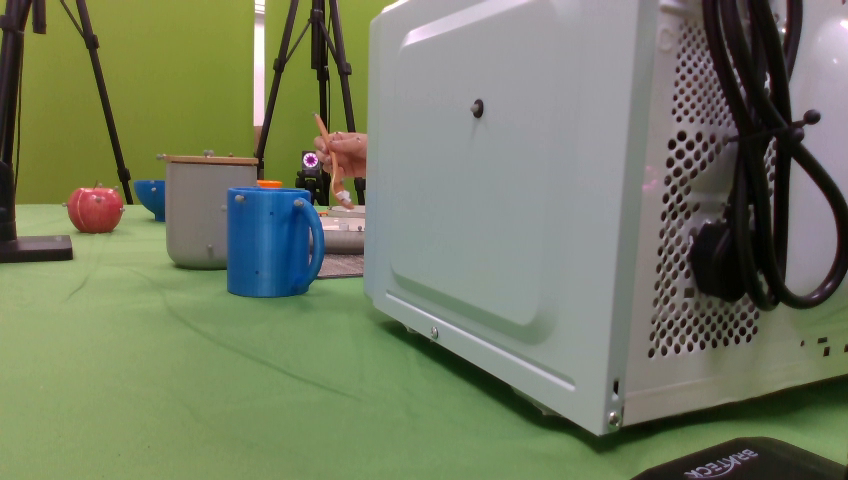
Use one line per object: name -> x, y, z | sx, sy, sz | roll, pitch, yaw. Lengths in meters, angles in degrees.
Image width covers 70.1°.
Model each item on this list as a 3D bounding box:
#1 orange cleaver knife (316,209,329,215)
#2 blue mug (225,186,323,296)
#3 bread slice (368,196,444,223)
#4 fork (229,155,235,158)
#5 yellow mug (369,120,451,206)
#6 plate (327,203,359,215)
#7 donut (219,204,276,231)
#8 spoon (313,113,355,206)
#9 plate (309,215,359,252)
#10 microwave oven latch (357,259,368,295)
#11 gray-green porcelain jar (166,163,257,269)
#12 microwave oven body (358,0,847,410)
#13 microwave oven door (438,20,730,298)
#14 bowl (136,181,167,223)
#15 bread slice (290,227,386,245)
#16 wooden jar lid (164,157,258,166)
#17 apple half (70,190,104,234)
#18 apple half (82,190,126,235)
orange cleaver knife -> -0.259, -0.064, 1.423 | 0.212, 0.012, 0.077 | -4, 3, -30
blue mug -> -0.148, 0.000, 0.618 | 0.116, 0.106, 0.083 | 7, 9, 33
bread slice -> -0.040, -0.057, 1.142 | 0.107, 0.018, 0.133 | -8, -8, -39
fork -> -0.459, -0.134, 1.415 | 0.028, 0.018, 0.207 | -1, -34, -25
yellow mug -> -0.010, -0.116, 0.865 | 0.100, 0.130, 0.064 | 3, 45, -56
plate -> -0.102, -0.053, 1.299 | 0.209, 0.038, 0.209 | 2, 8, 0
donut -> -0.316, -0.039, 1.083 | 0.099, 0.048, 0.099 | 3, 7, 0
spoon -> -0.145, -0.130, 0.957 | 0.021, 0.193, 0.042 | -31, -29, 23
plate -> -0.130, -0.011, 0.945 | 0.208, 0.039, 0.207 | 2, 8, 0
microwave oven latch -> -0.019, 0.031, 0.529 | 0.079, 0.029, 0.030 | -1, 7, -26
gray-green porcelain jar -> -0.263, -0.031, 0.754 | 0.106, 0.126, 0.106 | 2, 7, 0
microwave oven body -> 0.210, -0.051, 0.471 | 0.444, 0.260, 0.324 | -1, 7, -28
microwave oven door -> 0.181, -0.076, 0.618 | 0.358, 0.243, 0.039 | -2, 8, -28
bowl -> -0.497, -0.076, 1.221 | 0.151, 0.077, 0.151 | 2, 8, 0
bread slice -> -0.124, -0.007, 0.938 | 0.131, 0.019, 0.105 | 3, 8, 33
wooden jar lid -> -0.261, -0.093, 0.746 | 0.108, 0.020, 0.108 | 1, 9, 0
apple half -> -0.552, -0.047, 1.010 | 0.053, 0.074, 0.081 | 0, 10, 26
apple half -> -0.516, -0.046, 0.994 | 0.032, 0.081, 0.081 | 0, 6, 26
